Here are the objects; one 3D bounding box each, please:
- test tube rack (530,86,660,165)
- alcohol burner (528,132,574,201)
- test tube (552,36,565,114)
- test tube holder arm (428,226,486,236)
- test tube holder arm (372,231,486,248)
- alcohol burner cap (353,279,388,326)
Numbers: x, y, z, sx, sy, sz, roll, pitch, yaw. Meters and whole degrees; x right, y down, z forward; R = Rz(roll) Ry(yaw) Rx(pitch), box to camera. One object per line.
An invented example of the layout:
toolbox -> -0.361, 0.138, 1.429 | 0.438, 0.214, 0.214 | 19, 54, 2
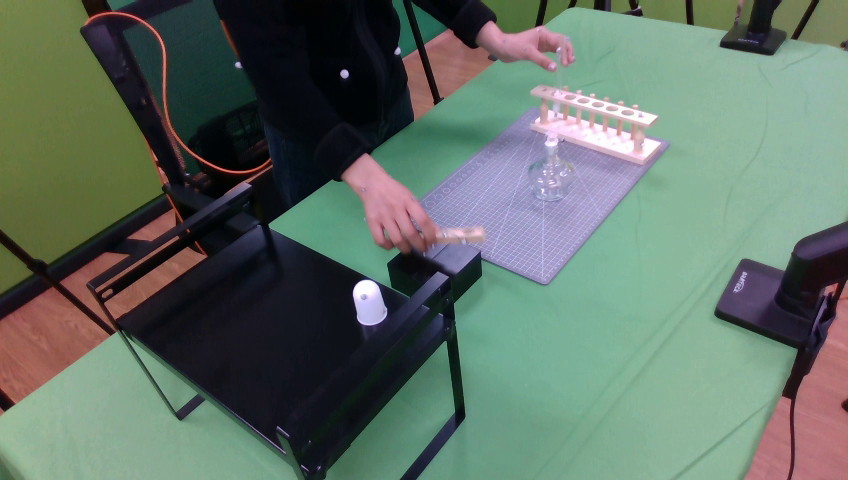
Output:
test tube rack -> 0.320, -0.226, 1.140 | 0.240, 0.085, 0.067 | 27, 51, 34
alcohol burner -> 0.214, -0.126, 1.016 | 0.078, 0.119, 0.077 | -5, 38, 5
test tube -> 0.249, -0.303, 1.119 | 0.017, 0.151, 0.017 | -3, 40, 3
test tube holder arm -> 0.045, -0.008, 0.847 | 0.087, 0.015, 0.010 | -4, 37, 27
test tube holder arm -> 0.003, -0.001, 0.864 | 0.177, 0.015, 0.013 | -5, 36, 26
alcohol burner cap -> -0.056, 0.061, 0.616 | 0.034, 0.048, 0.033 | -4, 41, 4
